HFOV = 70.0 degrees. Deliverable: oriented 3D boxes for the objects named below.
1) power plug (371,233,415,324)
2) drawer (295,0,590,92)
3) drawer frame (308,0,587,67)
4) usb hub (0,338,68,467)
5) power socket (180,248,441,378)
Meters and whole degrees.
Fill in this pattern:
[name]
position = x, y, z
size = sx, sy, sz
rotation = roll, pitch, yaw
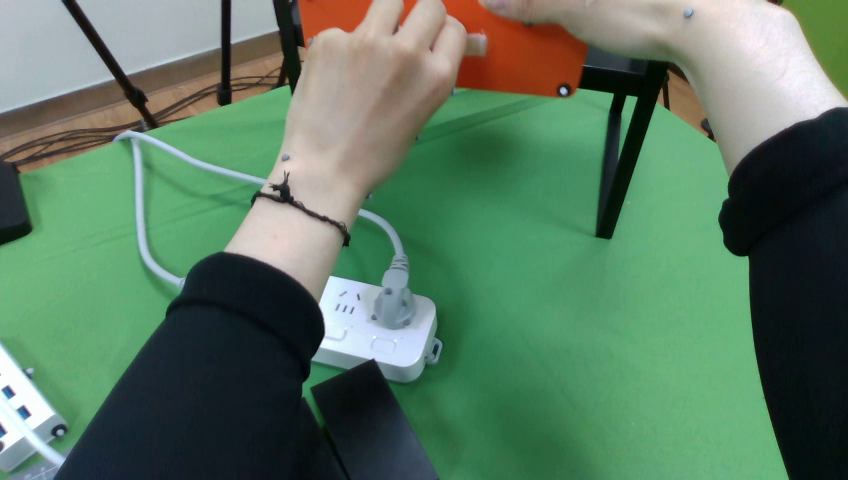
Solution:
[power plug]
position = -0.017, 0.038, 0.501
size = 0.035, 0.053, 0.072
rotation = 20, 54, 18
[drawer]
position = 0.024, -0.211, 0.476
size = 0.194, 0.074, 0.210
rotation = 6, 48, 5
[drawer frame]
position = 0.028, -0.240, 0.500
size = 0.201, 0.083, 0.211
rotation = 6, 49, 5
[usb hub]
position = -0.333, 0.114, 0.467
size = 0.124, 0.025, 0.049
rotation = 33, 57, 25
[power socket]
position = -0.097, 0.059, 0.512
size = 0.226, 0.033, 0.071
rotation = 12, 50, 10
